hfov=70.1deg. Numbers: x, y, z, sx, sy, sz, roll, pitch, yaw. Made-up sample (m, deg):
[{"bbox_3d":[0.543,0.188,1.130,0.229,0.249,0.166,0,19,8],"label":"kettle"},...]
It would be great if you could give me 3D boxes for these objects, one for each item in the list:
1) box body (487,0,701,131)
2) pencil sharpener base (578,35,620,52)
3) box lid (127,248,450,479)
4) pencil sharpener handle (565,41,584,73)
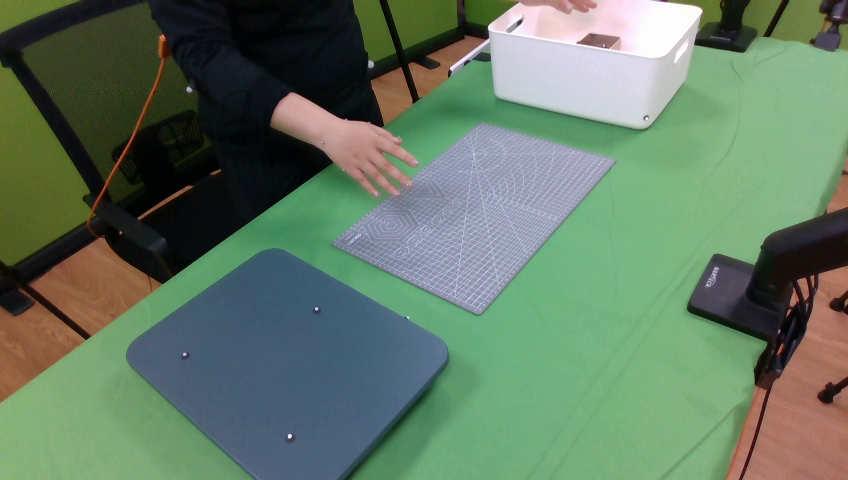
[{"bbox_3d":[0.345,-0.379,1.257,0.361,0.161,0.255,20,48,29],"label":"box body"},{"bbox_3d":[0.363,-0.368,1.273,0.076,0.107,0.061,20,49,30],"label":"pencil sharpener base"},{"bbox_3d":[-0.177,0.145,0.768,0.368,0.015,0.264,24,50,32],"label":"box lid"},{"bbox_3d":[0.318,-0.390,1.289,0.030,0.068,0.036,20,38,30],"label":"pencil sharpener handle"}]
